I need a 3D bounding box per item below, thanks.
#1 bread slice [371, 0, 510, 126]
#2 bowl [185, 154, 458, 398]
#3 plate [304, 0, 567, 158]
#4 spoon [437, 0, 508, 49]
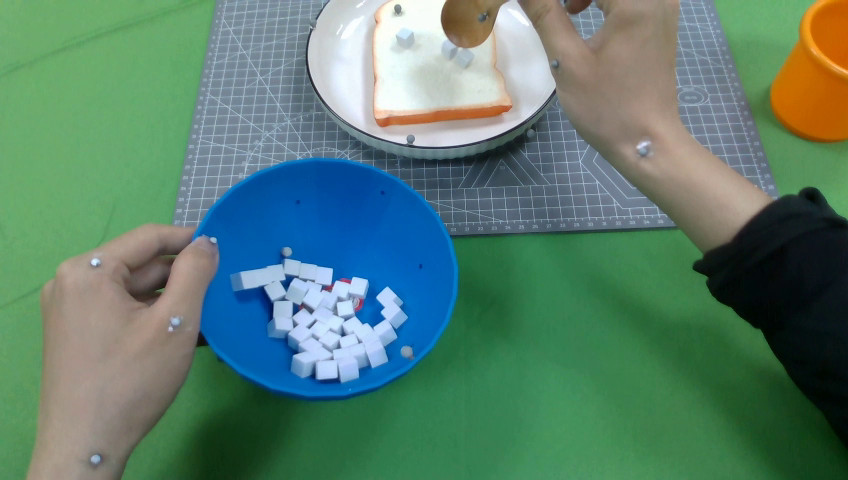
[{"bbox_3d":[0.005,-0.153,0.501,0.107,0.018,0.133,-9,64,-1],"label":"bread slice"},{"bbox_3d":[-0.060,0.031,0.371,0.152,0.077,0.150,5,60,-9],"label":"bowl"},{"bbox_3d":[0.008,-0.149,0.496,0.209,0.038,0.207,-1,63,2],"label":"plate"},{"bbox_3d":[0.053,-0.155,0.377,0.021,0.192,0.042,-34,106,-14],"label":"spoon"}]
